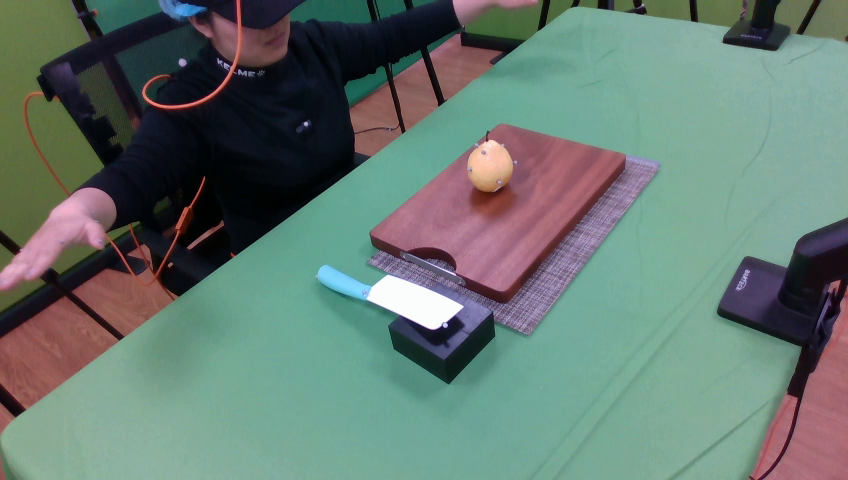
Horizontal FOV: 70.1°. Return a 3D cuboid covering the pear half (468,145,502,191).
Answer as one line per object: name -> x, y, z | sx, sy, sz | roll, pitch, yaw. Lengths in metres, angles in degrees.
pear half -> 0.097, -0.116, 1.007 | 0.070, 0.088, 0.031 | 27, 52, 26

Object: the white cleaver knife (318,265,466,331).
white cleaver knife -> -0.056, 0.075, 0.871 | 0.284, 0.021, 0.066 | 17, 42, 43

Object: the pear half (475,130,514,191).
pear half -> 0.119, -0.142, 1.020 | 0.076, 0.110, 0.056 | 26, 51, 30
